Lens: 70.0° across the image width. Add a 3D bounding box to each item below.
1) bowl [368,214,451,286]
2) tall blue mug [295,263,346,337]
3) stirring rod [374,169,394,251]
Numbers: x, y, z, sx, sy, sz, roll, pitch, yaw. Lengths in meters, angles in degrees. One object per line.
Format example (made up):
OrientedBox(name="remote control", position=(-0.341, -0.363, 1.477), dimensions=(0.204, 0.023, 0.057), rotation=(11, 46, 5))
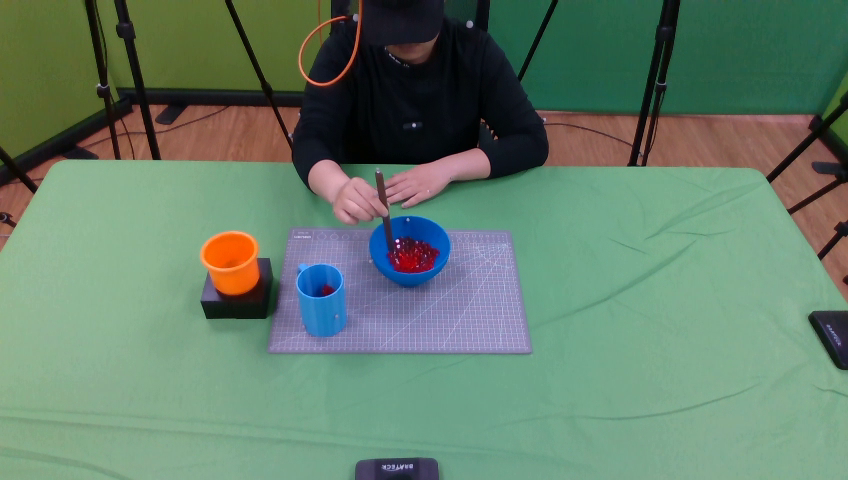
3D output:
OrientedBox(name="bowl", position=(-0.027, 0.031, 1.122), dimensions=(0.151, 0.077, 0.150), rotation=(2, 46, -2))
OrientedBox(name="tall blue mug", position=(-0.187, 0.096, 1.027), dimensions=(0.107, 0.108, 0.077), rotation=(21, 49, 16))
OrientedBox(name="stirring rod", position=(-0.066, -0.046, 1.017), dimensions=(0.014, 0.177, 0.006), rotation=(14, 47, 20))
